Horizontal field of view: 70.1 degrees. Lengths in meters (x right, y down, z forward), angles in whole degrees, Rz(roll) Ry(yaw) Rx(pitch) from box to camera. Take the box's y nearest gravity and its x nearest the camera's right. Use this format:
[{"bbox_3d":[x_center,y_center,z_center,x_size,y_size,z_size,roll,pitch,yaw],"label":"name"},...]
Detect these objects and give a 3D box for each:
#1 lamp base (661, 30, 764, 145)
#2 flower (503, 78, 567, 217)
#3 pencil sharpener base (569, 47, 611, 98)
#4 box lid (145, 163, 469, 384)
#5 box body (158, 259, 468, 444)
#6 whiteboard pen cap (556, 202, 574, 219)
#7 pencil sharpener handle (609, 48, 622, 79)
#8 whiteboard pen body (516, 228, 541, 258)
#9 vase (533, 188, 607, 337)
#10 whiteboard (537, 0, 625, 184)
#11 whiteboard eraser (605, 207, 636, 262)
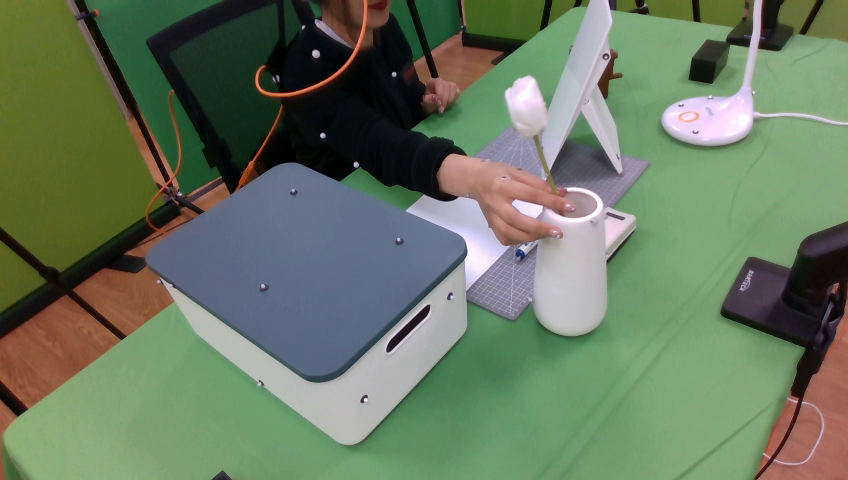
[{"bbox_3d":[0.535,-0.287,1.095,0.179,0.181,0.159,-10,40,-4],"label":"lamp base"},{"bbox_3d":[0.165,-0.032,0.721,0.038,0.364,0.044,-8,44,25],"label":"flower"},{"bbox_3d":[0.346,-0.352,1.262,0.077,0.107,0.061,-10,40,-1],"label":"pencil sharpener base"},{"bbox_3d":[-0.157,0.014,0.769,0.368,0.015,0.264,25,51,33],"label":"box lid"},{"bbox_3d":[-0.147,0.072,0.816,0.361,0.161,0.255,24,50,33],"label":"box body"},{"bbox_3d":[0.231,-0.048,0.994,0.018,0.018,0.033,26,54,34],"label":"whiteboard pen cap"},{"bbox_3d":[0.395,-0.368,1.254,0.031,0.068,0.036,-10,32,-1],"label":"pencil sharpener handle"},{"bbox_3d":[0.192,-0.015,0.964,0.017,0.017,0.141,26,51,34],"label":"whiteboard pen body"},{"bbox_3d":[0.187,0.033,0.771,0.098,0.201,0.097,-6,41,5],"label":"vase"},{"bbox_3d":[0.316,-0.256,1.047,0.144,0.306,0.216,15,42,-1],"label":"whiteboard"},{"bbox_3d":[0.273,-0.003,0.919,0.055,0.042,0.113,27,51,33],"label":"whiteboard eraser"}]
